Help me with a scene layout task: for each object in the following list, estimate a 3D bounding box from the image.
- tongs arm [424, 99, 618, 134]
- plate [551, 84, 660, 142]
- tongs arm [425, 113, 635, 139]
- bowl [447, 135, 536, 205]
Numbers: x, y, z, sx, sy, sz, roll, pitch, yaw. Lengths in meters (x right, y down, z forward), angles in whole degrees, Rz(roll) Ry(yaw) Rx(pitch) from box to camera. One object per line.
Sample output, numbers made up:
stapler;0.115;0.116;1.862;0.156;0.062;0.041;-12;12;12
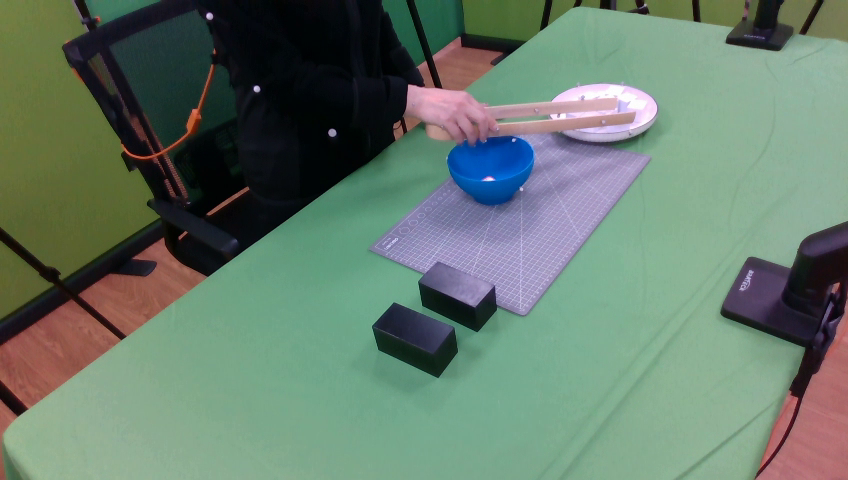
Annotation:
tongs arm;0.184;-0.226;1.091;0.386;0.026;0.050;-6;40;-13
plate;0.355;-0.246;1.195;0.207;0.039;0.206;-5;39;5
tongs arm;0.194;-0.203;1.063;0.389;0.028;0.028;-6;43;-13
bowl;0.119;-0.115;1.051;0.151;0.077;0.150;-6;40;5
